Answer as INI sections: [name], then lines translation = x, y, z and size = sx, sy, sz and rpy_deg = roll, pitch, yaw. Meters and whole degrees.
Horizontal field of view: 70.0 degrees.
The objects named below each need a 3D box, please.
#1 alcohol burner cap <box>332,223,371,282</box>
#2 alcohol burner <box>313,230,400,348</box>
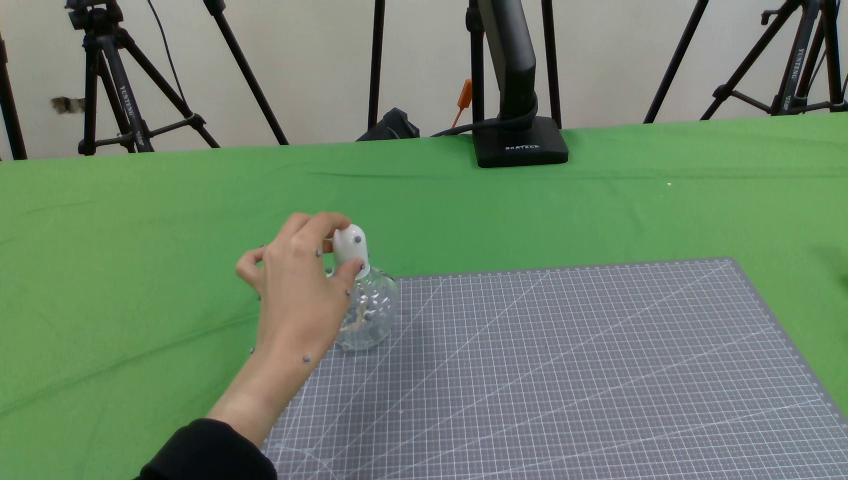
[alcohol burner cap]
translation = -0.061, 0.008, 0.505
size = 0.034, 0.048, 0.033
rpy_deg = 2, 38, -1
[alcohol burner]
translation = -0.060, 0.037, 0.527
size = 0.078, 0.120, 0.077
rpy_deg = -1, 38, 1
